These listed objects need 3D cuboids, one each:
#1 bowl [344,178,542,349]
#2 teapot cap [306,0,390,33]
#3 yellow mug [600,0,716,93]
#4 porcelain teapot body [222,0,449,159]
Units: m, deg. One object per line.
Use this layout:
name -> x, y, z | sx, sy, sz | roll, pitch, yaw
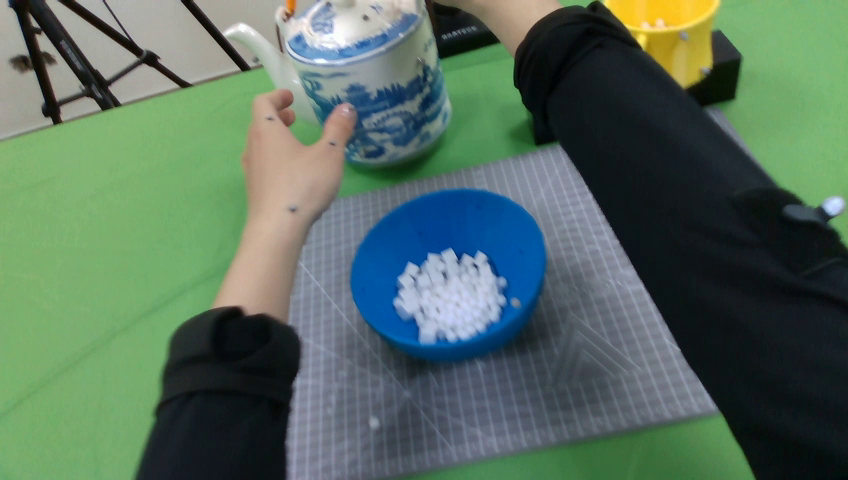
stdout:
bowl -> 0.020, 0.031, 0.479 | 0.151, 0.077, 0.150 | -8, 48, 9
teapot cap -> -0.074, -0.225, 0.576 | 0.085, 0.044, 0.084 | -10, 49, 12
yellow mug -> 0.210, -0.190, 0.558 | 0.099, 0.064, 0.130 | 15, 58, 27
porcelain teapot body -> -0.092, -0.197, 0.611 | 0.205, 0.228, 0.143 | -9, 50, 10
